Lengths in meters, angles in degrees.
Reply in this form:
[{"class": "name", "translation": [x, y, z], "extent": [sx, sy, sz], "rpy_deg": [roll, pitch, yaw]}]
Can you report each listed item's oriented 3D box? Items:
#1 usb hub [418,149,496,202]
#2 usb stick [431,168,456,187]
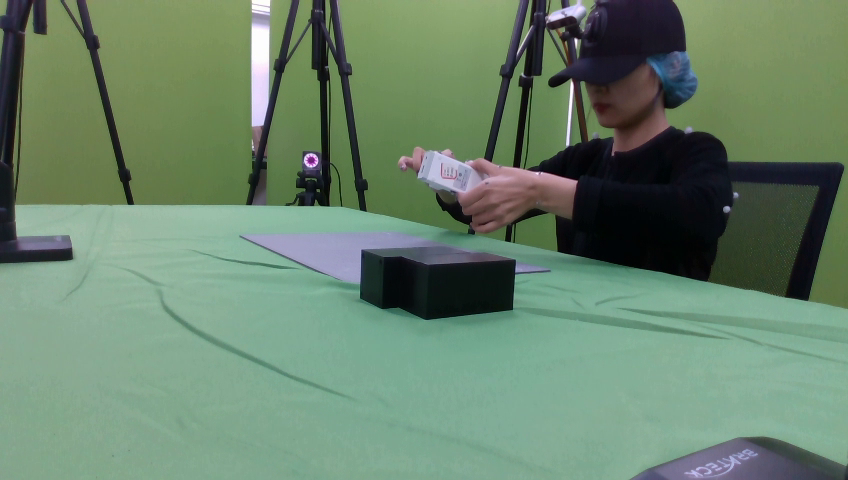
[{"class": "usb hub", "translation": [0.055, -0.103, 0.973], "extent": [0.126, 0.049, 0.025], "rpy_deg": [19, -6, -24]}, {"class": "usb stick", "translation": [0.035, -0.103, 0.996], "extent": [0.021, 0.027, 0.059], "rpy_deg": [14, -2, -25]}]
